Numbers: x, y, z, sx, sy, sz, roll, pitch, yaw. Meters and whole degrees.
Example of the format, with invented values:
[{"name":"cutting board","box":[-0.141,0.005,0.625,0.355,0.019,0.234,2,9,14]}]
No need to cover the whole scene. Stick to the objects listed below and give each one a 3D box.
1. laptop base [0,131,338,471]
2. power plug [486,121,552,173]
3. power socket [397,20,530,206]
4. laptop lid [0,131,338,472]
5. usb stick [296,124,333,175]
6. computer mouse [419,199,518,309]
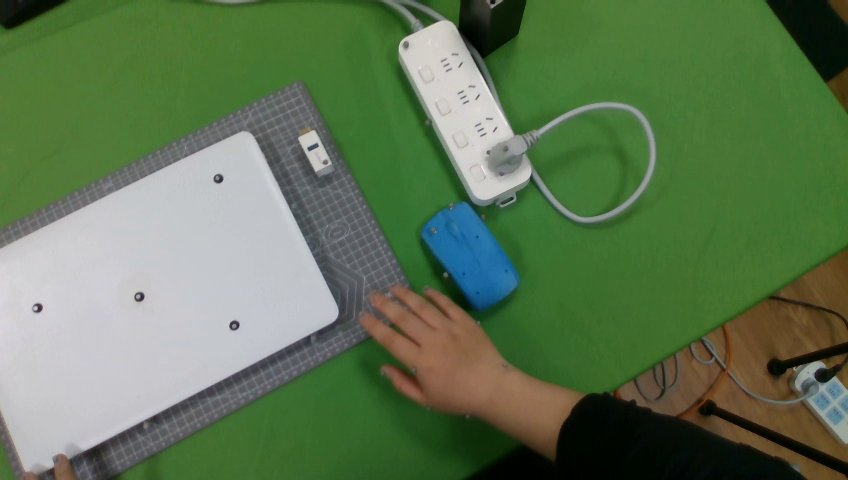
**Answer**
[{"name":"laptop base","box":[-0.296,0.057,0.648,0.354,0.023,0.235,-27,84,-5]},{"name":"power plug","box":[0.102,-0.094,0.644,0.072,0.053,0.035,-15,82,-3]},{"name":"power socket","box":[0.042,-0.143,0.675,0.072,0.033,0.226,-26,80,-4]},{"name":"laptop lid","box":[-0.295,0.057,0.636,0.357,0.013,0.241,-26,83,-4]},{"name":"usb stick","box":[-0.124,-0.103,0.669,0.021,0.027,0.059,-28,79,-1]},{"name":"computer mouse","box":[0.047,0.013,0.644,0.063,0.041,0.116,-33,76,-3]}]
